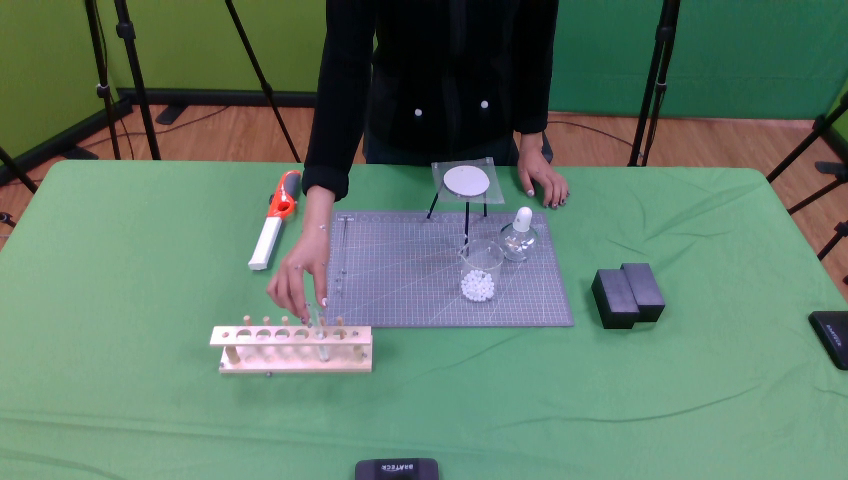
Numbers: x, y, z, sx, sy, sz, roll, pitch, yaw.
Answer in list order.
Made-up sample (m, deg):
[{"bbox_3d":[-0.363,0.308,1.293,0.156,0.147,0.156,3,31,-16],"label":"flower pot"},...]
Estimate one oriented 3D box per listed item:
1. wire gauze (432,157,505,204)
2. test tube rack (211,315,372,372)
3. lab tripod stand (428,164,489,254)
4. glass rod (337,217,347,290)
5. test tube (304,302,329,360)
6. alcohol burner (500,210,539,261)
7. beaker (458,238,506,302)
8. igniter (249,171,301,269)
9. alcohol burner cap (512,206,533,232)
[{"bbox_3d":[0.081,-0.112,1.137,0.125,0.011,0.120,-2,48,-6],"label":"wire gauze"},{"bbox_3d":[-0.208,0.164,0.982,0.242,0.085,0.066,1,46,-4],"label":"test tube rack"},{"bbox_3d":[0.078,-0.068,1.188,0.148,0.132,0.147,3,47,-3],"label":"lab tripod stand"},{"bbox_3d":[-0.158,0.022,1.171,0.008,0.008,0.198,1,43,-2],"label":"glass rod"},{"bbox_3d":[-0.165,0.144,0.935,0.017,0.151,0.017,-1,49,1],"label":"test tube"},{"bbox_3d":[0.185,-0.016,1.159,0.078,0.119,0.077,2,48,-2],"label":"alcohol burner"},{"bbox_3d":[0.099,0.057,1.092,0.084,0.101,0.073,6,46,3],"label":"beaker"},{"bbox_3d":[-0.297,-0.049,1.220,0.057,0.025,0.275,-1,45,9],"label":"igniter"},{"bbox_3d":[0.186,-0.042,1.134,0.034,0.048,0.033,6,41,-5],"label":"alcohol burner cap"}]
